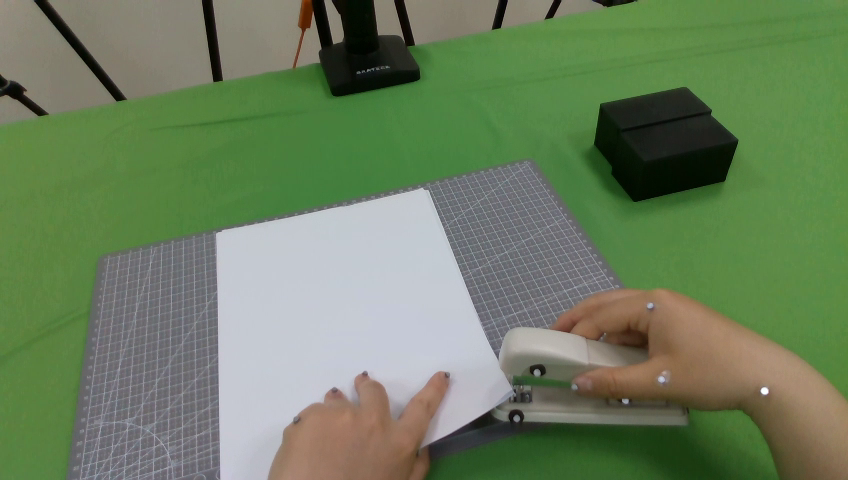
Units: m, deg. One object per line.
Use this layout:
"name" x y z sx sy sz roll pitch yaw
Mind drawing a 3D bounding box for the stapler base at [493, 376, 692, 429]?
"stapler base" 0.112 0.104 0.412 0.130 0.024 0.041 0 33 9

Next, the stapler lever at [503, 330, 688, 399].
"stapler lever" 0.111 0.082 0.399 0.118 0.040 0.026 1 33 9
